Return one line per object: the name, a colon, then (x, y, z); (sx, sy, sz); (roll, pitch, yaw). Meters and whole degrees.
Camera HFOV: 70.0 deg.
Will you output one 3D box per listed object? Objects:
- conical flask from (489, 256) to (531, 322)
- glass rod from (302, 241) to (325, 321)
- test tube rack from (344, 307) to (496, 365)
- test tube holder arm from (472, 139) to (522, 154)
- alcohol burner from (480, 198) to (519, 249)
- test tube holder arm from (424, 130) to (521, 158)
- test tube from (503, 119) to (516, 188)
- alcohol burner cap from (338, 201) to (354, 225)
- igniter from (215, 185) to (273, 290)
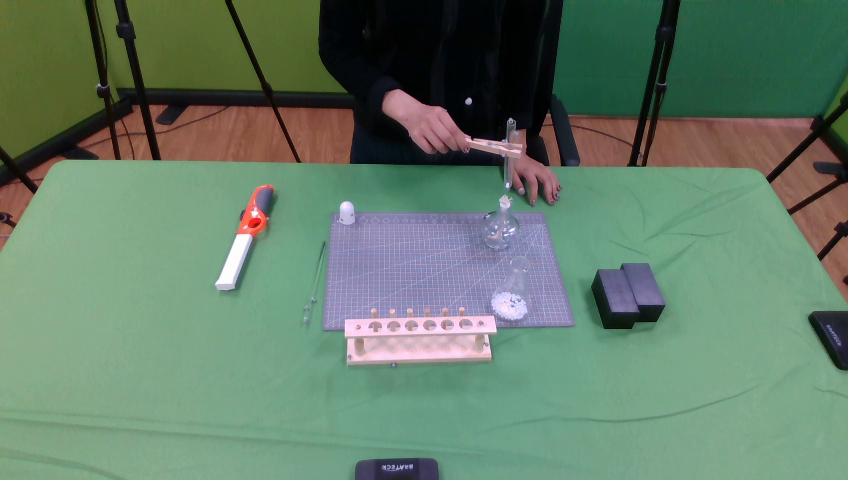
conical flask: (0.158, 0.081, 1.061); (0.075, 0.122, 0.075); (2, 46, -2)
glass rod: (-0.203, 0.072, 1.124); (0.008, 0.008, 0.198); (4, 43, 1)
test tube rack: (-0.009, 0.154, 1.007); (0.242, 0.085, 0.066); (-1, 46, -5)
test tube holder arm: (0.127, -0.165, 1.062); (0.088, 0.015, 0.010); (9, 46, 9)
alcohol burner: (0.150, -0.038, 1.182); (0.078, 0.119, 0.077); (3, 47, -3)
test tube holder arm: (0.083, -0.170, 1.068); (0.178, 0.015, 0.013); (14, 47, 14)
test tube: (0.149, -0.148, 1.065); (0.017, 0.151, 0.017); (-2, 48, 2)
alcohol burner cap: (-0.159, -0.056, 1.224); (0.034, 0.048, 0.033); (2, 46, -2)
igniter: (-0.347, -0.014, 1.182); (0.057, 0.025, 0.275); (-1, 45, 8)
